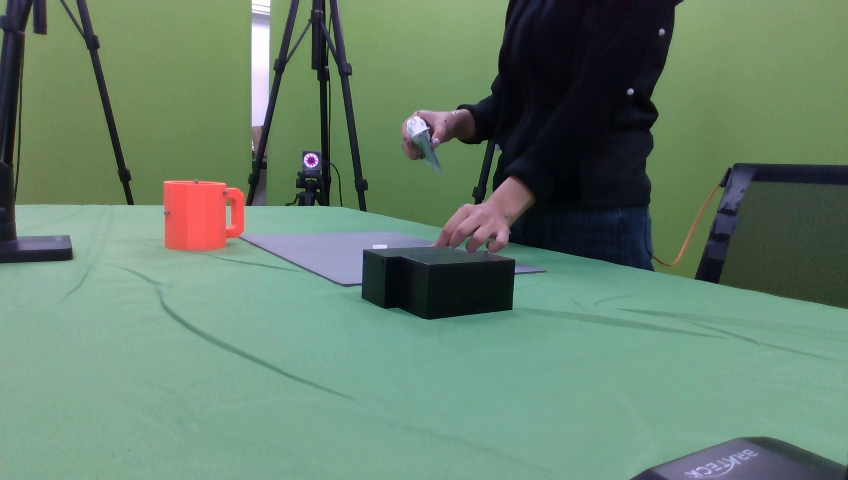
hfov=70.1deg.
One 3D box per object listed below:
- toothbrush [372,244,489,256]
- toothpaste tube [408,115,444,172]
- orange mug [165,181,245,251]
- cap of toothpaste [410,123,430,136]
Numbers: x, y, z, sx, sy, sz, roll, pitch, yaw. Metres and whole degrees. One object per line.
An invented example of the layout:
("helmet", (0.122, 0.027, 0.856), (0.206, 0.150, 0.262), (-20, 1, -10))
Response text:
("toothbrush", (0.012, 0.016, 0.876), (0.183, 0.016, 0.014), (1, -14, -21))
("toothpaste tube", (0.003, -0.174, 1.090), (0.055, 0.034, 0.165), (44, -6, 22))
("orange mug", (-0.326, -0.040, 0.911), (0.083, 0.101, 0.127), (8, 14, 37))
("cap of toothpaste", (-0.007, -0.184, 1.001), (0.037, 0.011, 0.037), (-22, 4, 2))
